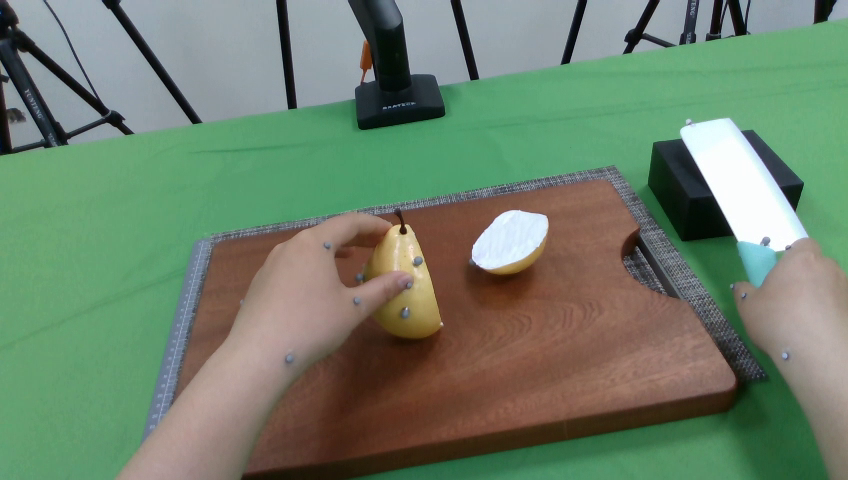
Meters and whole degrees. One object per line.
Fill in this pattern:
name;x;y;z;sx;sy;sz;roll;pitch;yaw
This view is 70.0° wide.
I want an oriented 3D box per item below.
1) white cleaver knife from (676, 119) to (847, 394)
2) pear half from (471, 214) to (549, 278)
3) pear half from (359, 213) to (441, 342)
white cleaver knife;0.284;-0.008;0.505;0.066;0.022;0.283;-9;53;4
pear half;0.077;0.009;0.522;0.070;0.031;0.087;-16;23;15
pear half;-0.023;0.028;0.455;0.056;0.111;0.075;-19;35;-12
